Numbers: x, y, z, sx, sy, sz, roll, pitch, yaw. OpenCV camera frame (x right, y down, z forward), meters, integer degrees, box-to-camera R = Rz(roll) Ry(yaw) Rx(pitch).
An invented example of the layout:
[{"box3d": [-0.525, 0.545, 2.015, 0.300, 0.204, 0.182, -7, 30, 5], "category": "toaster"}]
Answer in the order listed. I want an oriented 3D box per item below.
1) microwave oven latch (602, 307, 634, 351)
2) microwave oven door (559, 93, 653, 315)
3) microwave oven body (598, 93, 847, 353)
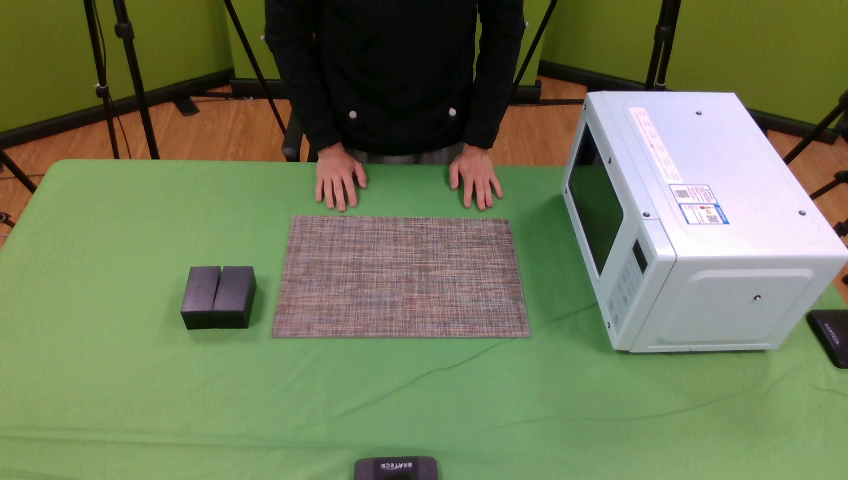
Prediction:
[{"box3d": [0.332, 0.153, 1.043, 0.030, 0.029, 0.078, 0, 45, -4], "category": "microwave oven latch"}, {"box3d": [0.327, -0.074, 1.123, 0.039, 0.245, 0.353, -1, 46, -5], "category": "microwave oven door"}, {"box3d": [0.475, -0.041, 1.109, 0.326, 0.261, 0.438, -1, 45, -4], "category": "microwave oven body"}]
